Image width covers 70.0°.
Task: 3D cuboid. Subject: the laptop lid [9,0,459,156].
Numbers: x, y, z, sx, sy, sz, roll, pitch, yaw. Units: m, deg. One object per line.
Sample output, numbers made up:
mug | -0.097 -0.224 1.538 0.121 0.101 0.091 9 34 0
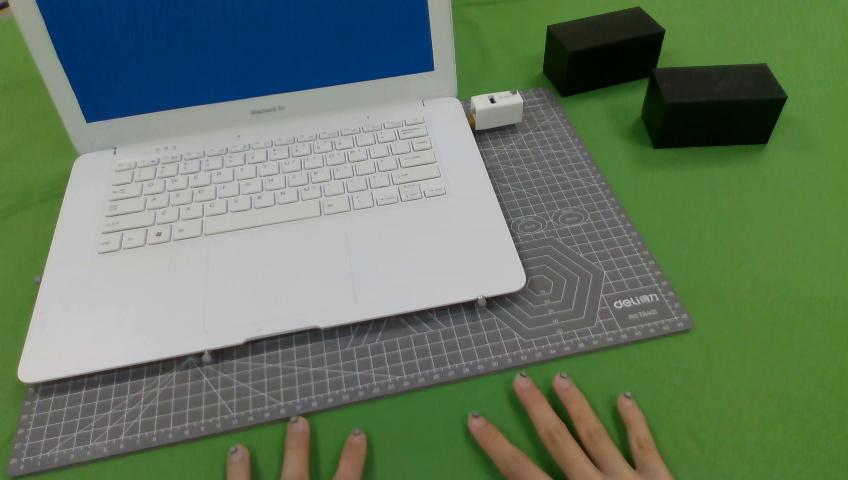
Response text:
laptop lid | -0.150 -0.199 0.504 0.357 0.244 0.013 -11 34 -4

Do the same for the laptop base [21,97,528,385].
laptop base | -0.117 -0.015 0.493 0.355 0.023 0.233 -10 52 -5

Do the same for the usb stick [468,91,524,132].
usb stick | 0.061 -0.116 0.554 0.059 0.027 0.021 -12 49 -4
